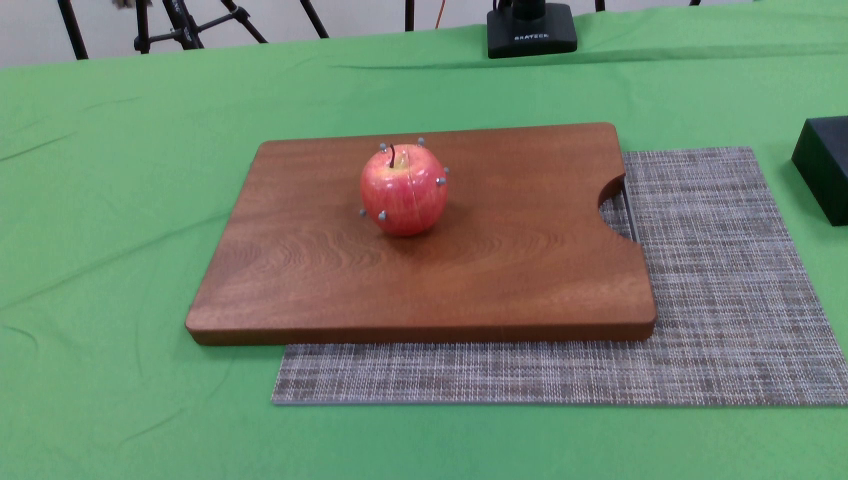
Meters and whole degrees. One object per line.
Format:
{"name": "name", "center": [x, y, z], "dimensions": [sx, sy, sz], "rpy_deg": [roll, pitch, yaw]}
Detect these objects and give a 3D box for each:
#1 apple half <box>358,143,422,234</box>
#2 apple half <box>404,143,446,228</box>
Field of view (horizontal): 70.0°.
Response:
{"name": "apple half", "center": [-0.033, -0.045, 0.563], "dimensions": [0.053, 0.075, 0.080], "rpy_deg": [-12, 50, 4]}
{"name": "apple half", "center": [0.005, -0.052, 0.562], "dimensions": [0.033, 0.082, 0.080], "rpy_deg": [-12, 46, 4]}
